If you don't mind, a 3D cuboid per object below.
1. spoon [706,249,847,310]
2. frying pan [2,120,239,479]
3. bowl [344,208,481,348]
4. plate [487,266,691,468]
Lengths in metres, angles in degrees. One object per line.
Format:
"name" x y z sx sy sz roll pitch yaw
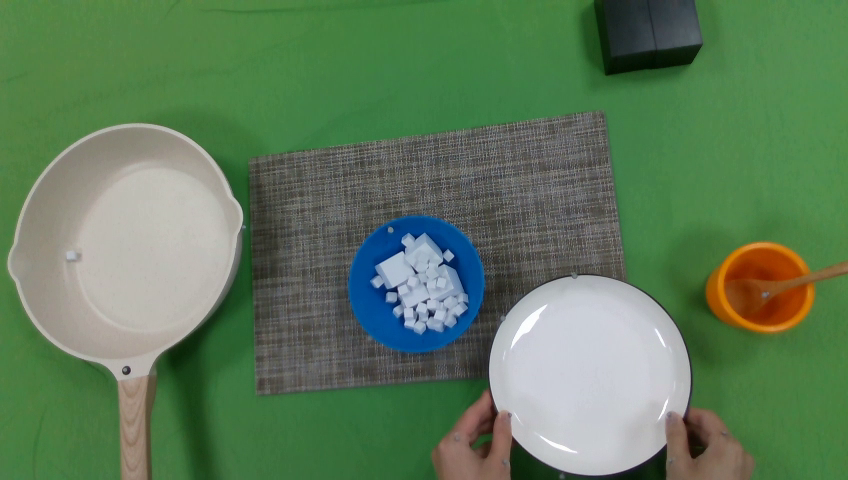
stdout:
"spoon" 0.373 0.031 0.601 0.022 0.193 0.041 -10 76 -38
"frying pan" -0.346 0.098 0.718 0.306 0.103 0.484 -11 72 7
"bowl" -0.008 0.047 0.686 0.151 0.077 0.151 -1 81 8
"plate" 0.172 0.132 0.647 0.207 0.039 0.207 -1 82 7
